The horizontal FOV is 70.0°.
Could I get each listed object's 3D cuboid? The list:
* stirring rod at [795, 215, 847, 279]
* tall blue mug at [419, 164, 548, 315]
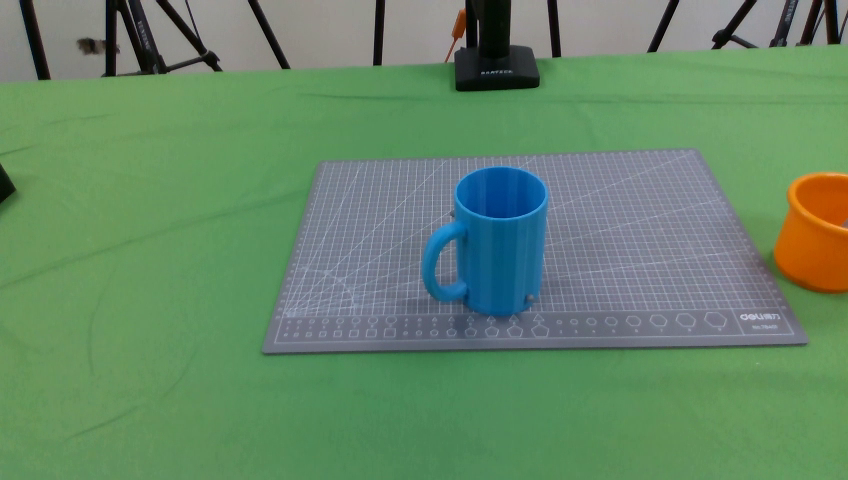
[{"bbox_3d":[0.386,-0.036,0.516,0.176,0.006,0.014,-51,39,12],"label":"stirring rod"},{"bbox_3d":[0.055,0.009,0.510,0.077,0.109,0.107,21,46,25],"label":"tall blue mug"}]
